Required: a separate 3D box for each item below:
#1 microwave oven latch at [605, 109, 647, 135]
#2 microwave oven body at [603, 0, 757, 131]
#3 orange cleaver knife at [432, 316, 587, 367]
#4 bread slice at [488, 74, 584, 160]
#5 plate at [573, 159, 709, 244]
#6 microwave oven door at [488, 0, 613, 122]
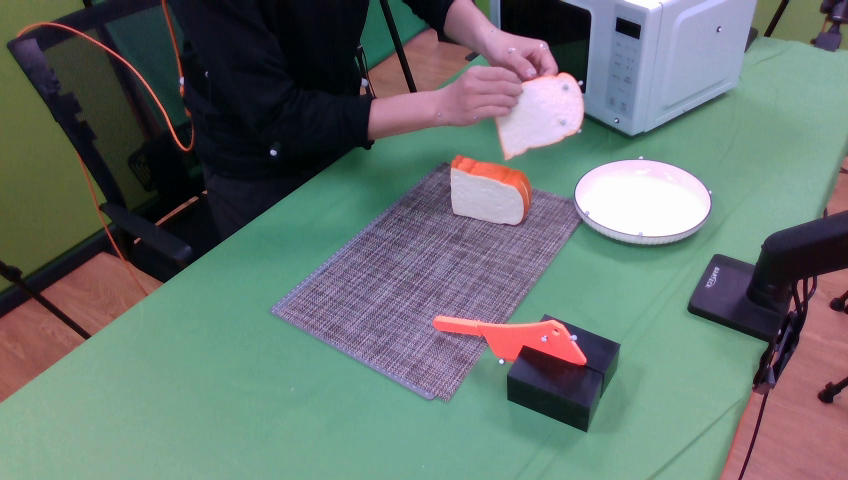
[{"bbox_3d":[0.378,-0.225,1.139,0.030,0.029,0.078,-26,43,-19],"label":"microwave oven latch"},{"bbox_3d":[0.396,-0.448,1.248,0.327,0.261,0.437,-27,44,-21],"label":"microwave oven body"},{"bbox_3d":[0.101,0.127,0.761,0.210,0.077,0.012,-1,34,40],"label":"orange cleaver knife"},{"bbox_3d":[0.170,-0.191,0.901,0.134,0.107,0.018,-19,25,7],"label":"bread slice"},{"bbox_3d":[0.347,-0.059,0.978,0.207,0.039,0.206,-4,41,4],"label":"plate"},{"bbox_3d":[0.250,-0.413,1.219,0.039,0.245,0.352,-27,44,-21],"label":"microwave oven door"}]
